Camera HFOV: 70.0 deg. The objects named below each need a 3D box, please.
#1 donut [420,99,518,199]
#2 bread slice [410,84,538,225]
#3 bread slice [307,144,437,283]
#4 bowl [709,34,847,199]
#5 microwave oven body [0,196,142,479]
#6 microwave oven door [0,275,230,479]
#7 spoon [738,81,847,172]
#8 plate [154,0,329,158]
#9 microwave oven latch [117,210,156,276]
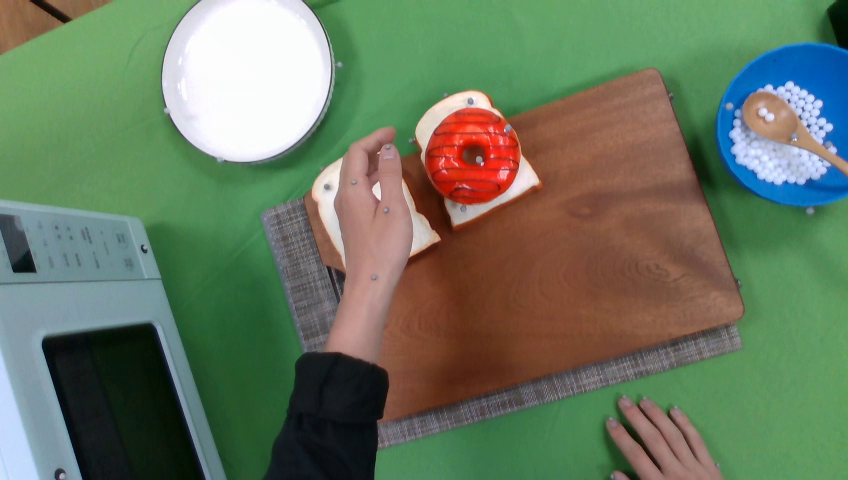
[{"bbox_3d":[0.045,-0.090,0.604,0.099,0.048,0.099,0,89,9],"label":"donut"},{"bbox_3d":[0.043,-0.096,0.634,0.105,0.019,0.131,-29,84,7],"label":"bread slice"},{"bbox_3d":[-0.064,-0.033,0.650,0.107,0.018,0.134,-33,83,7],"label":"bread slice"},{"bbox_3d":[0.345,-0.110,0.581,0.151,0.077,0.151,0,89,10],"label":"bowl"},{"bbox_3d":[-0.431,0.220,0.613,0.326,0.261,0.440,-21,86,8],"label":"microwave oven body"},{"bbox_3d":[-0.282,0.207,0.583,0.039,0.244,0.355,-21,85,9],"label":"microwave oven door"},{"bbox_3d":[0.366,-0.078,0.546,0.041,0.022,0.192,-45,64,11],"label":"spoon"},{"bbox_3d":[-0.206,-0.195,0.697,0.207,0.039,0.207,0,89,10],"label":"plate"},{"bbox_3d":[-0.338,0.006,0.698,0.030,0.029,0.079,-20,86,8],"label":"microwave oven latch"}]
